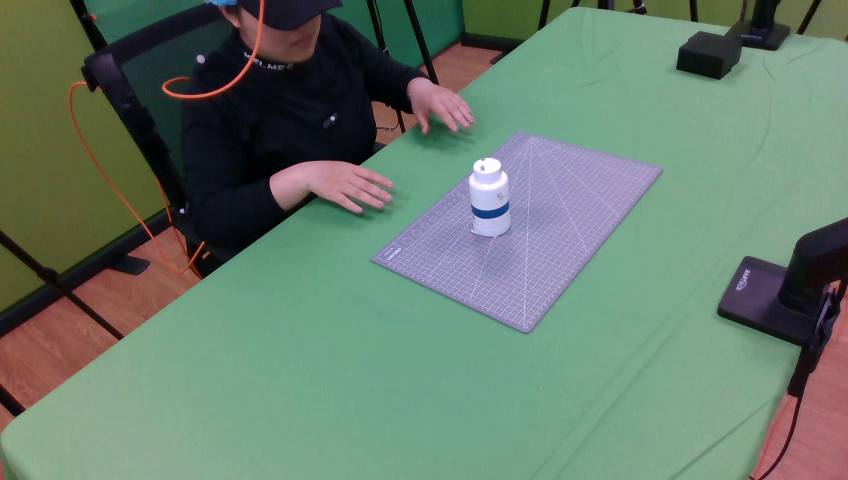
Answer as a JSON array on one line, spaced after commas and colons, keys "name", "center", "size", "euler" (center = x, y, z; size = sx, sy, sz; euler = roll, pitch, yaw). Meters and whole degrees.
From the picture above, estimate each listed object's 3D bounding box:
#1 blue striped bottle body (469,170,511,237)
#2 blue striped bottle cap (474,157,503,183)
[{"name": "blue striped bottle body", "center": [0.105, -0.069, 0.963], "size": [0.063, 0.121, 0.063], "euler": [-6, 40, 5]}, {"name": "blue striped bottle cap", "center": [0.099, -0.108, 0.931], "size": [0.044, 0.021, 0.044], "euler": [-6, 41, 5]}]
